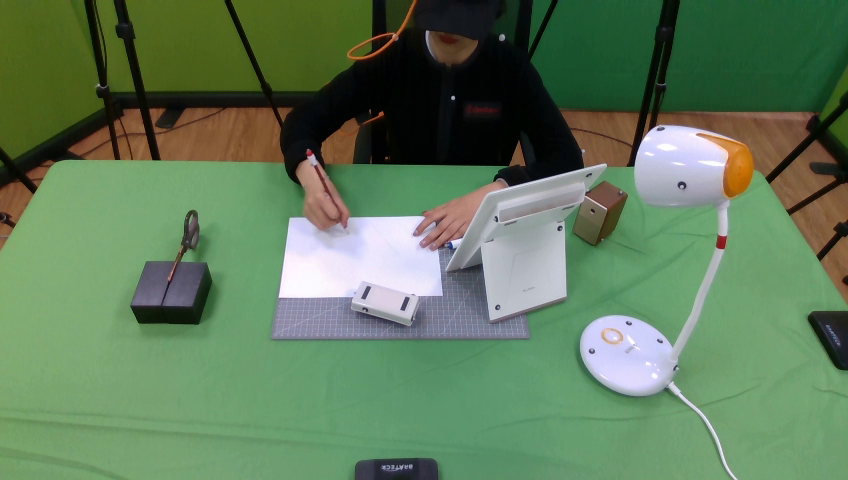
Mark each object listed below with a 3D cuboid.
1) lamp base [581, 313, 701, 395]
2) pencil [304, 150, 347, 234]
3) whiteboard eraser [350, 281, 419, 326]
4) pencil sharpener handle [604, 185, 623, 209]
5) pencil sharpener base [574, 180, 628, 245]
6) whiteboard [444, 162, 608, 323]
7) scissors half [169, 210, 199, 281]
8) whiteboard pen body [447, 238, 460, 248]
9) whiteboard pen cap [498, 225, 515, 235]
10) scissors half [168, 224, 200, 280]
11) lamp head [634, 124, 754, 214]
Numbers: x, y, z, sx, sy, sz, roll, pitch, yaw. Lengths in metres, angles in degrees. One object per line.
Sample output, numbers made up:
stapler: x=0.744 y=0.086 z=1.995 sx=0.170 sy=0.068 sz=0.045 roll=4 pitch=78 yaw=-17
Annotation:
lamp base: x=0.361 y=0.144 z=0.973 sx=0.178 sy=0.181 sz=0.160 roll=34 pitch=53 yaw=23
pencil: x=-0.184 y=-0.087 z=1.151 sx=0.012 sy=0.195 sz=0.012 roll=-14 pitch=35 yaw=10
whiteboard eraser: x=-0.069 y=0.113 z=1.065 sx=0.112 sy=0.042 sz=0.055 roll=14 pitch=46 yaw=9
pencil sharpener handle: x=0.390 y=-0.091 z=1.235 sx=0.030 sy=0.068 sz=0.036 roll=-33 pitch=69 yaw=-31
pencil sharpener base: x=0.355 y=-0.056 z=1.217 sx=0.076 sy=0.107 sz=0.061 roll=-33 pitch=56 yaw=-31
whiteboard: x=0.186 y=0.025 z=1.029 sx=0.217 sy=0.306 sz=0.143 roll=-14 pitch=68 yaw=-18
scissors half: x=-0.438 y=0.007 z=1.098 sx=0.013 sy=0.040 sz=0.174 roll=3 pitch=47 yaw=-3
whiteboard pen body: x=0.112 y=-0.005 z=1.204 sx=0.141 sy=0.017 sz=0.017 roll=-13 pitch=49 yaw=-18
whiteboard pen cap: x=0.166 y=-0.019 z=1.222 sx=0.033 sy=0.018 sz=0.018 roll=-14 pitch=49 yaw=-19
scissors half: x=-0.440 y=0.023 z=1.111 sx=0.013 sy=0.040 sz=0.174 roll=7 pitch=29 yaw=-6
lamp head: x=0.351 y=-0.089 z=0.776 sx=0.112 sy=0.113 sz=0.122 roll=-30 pitch=30 yaw=-28
